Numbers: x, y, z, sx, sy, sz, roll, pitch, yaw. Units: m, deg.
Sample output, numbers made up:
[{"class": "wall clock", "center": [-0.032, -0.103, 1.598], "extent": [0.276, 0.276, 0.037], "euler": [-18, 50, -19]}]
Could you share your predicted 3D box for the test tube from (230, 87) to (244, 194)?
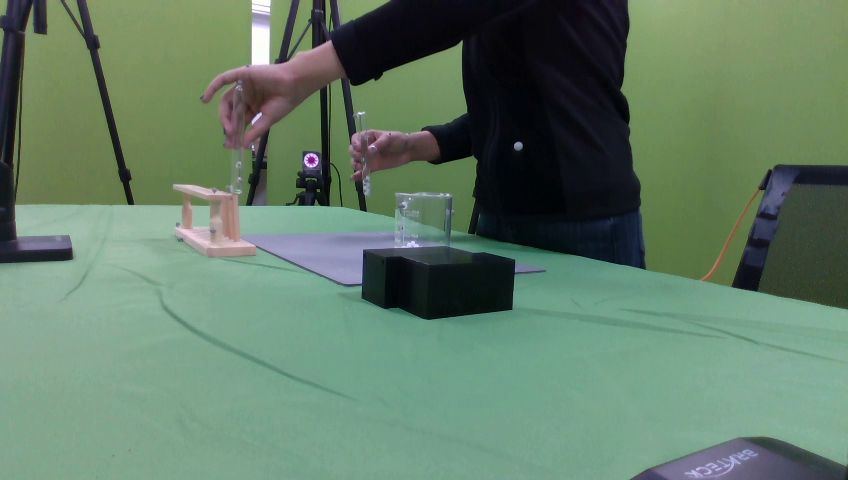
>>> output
[{"class": "test tube", "center": [-0.260, -0.137, 0.844], "extent": [0.017, 0.150, 0.017], "euler": [7, 20, -2]}]

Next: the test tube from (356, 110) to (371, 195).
[{"class": "test tube", "center": [-0.106, -0.152, 1.065], "extent": [0.017, 0.150, 0.017], "euler": [-3, 18, 1]}]

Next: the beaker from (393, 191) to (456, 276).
[{"class": "beaker", "center": [-0.004, -0.010, 0.749], "extent": [0.074, 0.100, 0.083], "euler": [-3, 8, -40]}]

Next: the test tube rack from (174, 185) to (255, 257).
[{"class": "test tube rack", "center": [-0.324, -0.035, 0.922], "extent": [0.067, 0.085, 0.241], "euler": [-2, 9, -32]}]
